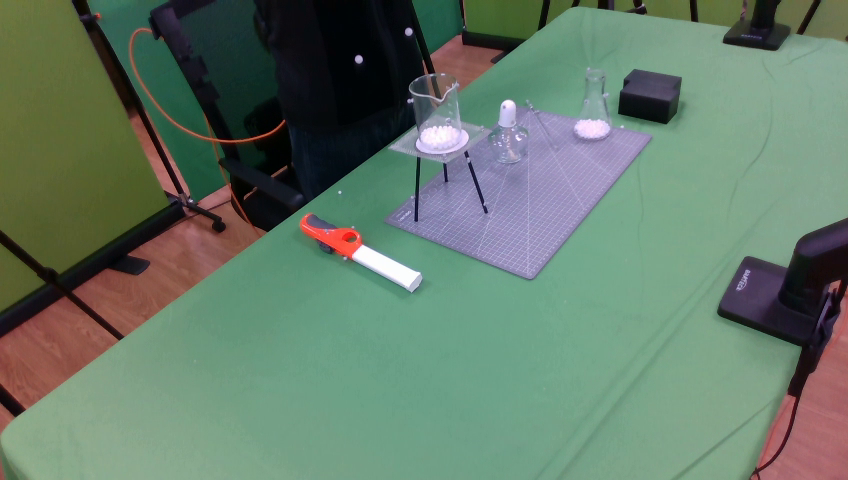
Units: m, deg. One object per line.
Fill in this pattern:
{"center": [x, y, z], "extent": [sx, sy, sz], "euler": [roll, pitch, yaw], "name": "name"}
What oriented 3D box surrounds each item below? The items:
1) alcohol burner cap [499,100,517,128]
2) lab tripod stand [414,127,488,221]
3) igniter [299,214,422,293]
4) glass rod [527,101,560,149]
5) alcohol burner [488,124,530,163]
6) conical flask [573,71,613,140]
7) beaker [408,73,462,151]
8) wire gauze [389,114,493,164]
{"center": [0.154, -0.230, 1.095], "extent": [0.034, 0.048, 0.033], "euler": [-2, 45, 2], "name": "alcohol burner cap"}
{"center": [0.035, -0.114, 1.021], "extent": [0.148, 0.132, 0.147], "euler": [-7, 39, 6], "name": "lab tripod stand"}
{"center": [-0.113, 0.016, 0.983], "extent": [0.274, 0.025, 0.057], "euler": [26, 62, 35], "name": "igniter"}
{"center": [0.240, -0.236, 1.223], "extent": [0.008, 0.008, 0.198], "euler": [-12, 40, -2], "name": "glass rod"}
{"center": [0.157, -0.204, 1.119], "extent": [0.078, 0.119, 0.077], "euler": [-5, 38, 4], "name": "alcohol burner"}
{"center": [0.321, -0.256, 1.142], "extent": [0.075, 0.122, 0.075], "euler": [-5, 40, 5], "name": "conical flask"}
{"center": [0.021, -0.196, 0.943], "extent": [0.074, 0.101, 0.083], "euler": [-17, 39, -7], "name": "beaker"}
{"center": [0.027, -0.163, 0.978], "extent": [0.120, 0.011, 0.125], "euler": [22, 50, 36], "name": "wire gauze"}
